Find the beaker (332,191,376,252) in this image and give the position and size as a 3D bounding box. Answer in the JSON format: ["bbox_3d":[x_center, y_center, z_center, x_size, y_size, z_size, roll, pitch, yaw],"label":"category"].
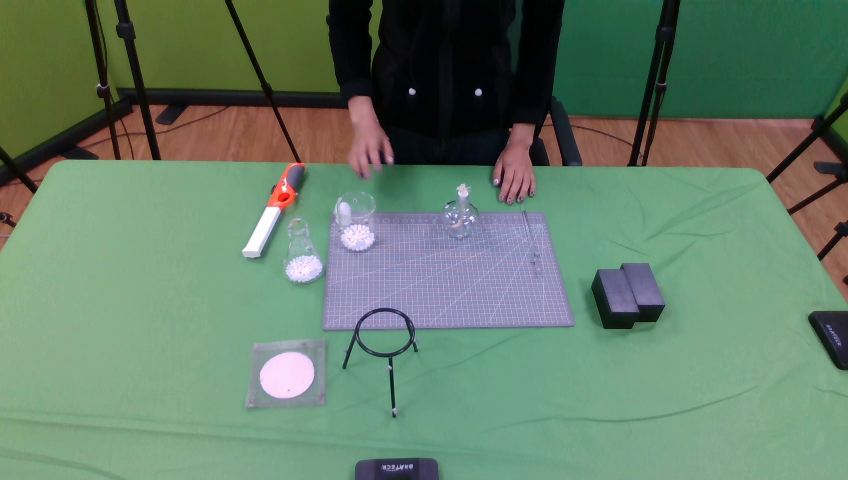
[{"bbox_3d":[-0.133,-0.032,1.163,0.084,0.101,0.073,-19,50,-20],"label":"beaker"}]

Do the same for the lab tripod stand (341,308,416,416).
[{"bbox_3d":[-0.061,0.177,0.946,0.148,0.132,0.147,2,44,-2],"label":"lab tripod stand"}]

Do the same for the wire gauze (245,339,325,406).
[{"bbox_3d":[-0.224,0.214,0.984,0.125,0.011,0.120,-2,46,-5],"label":"wire gauze"}]

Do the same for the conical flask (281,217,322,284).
[{"bbox_3d":[-0.225,0.016,1.097,0.075,0.122,0.075,2,46,-2],"label":"conical flask"}]

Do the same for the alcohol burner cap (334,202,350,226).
[{"bbox_3d":[-0.166,-0.055,1.223,0.034,0.048,0.033,2,46,-2],"label":"alcohol burner cap"}]

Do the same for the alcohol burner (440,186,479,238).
[{"bbox_3d":[0.072,-0.062,1.198,0.078,0.119,0.077,3,47,-3],"label":"alcohol burner"}]

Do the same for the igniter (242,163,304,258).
[{"bbox_3d":[-0.305,-0.069,1.239,0.057,0.025,0.275,2,45,12],"label":"igniter"}]

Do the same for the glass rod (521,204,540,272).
[{"bbox_3d":[0.215,-0.008,1.230,0.008,0.008,0.198,0,43,-3],"label":"glass rod"}]
